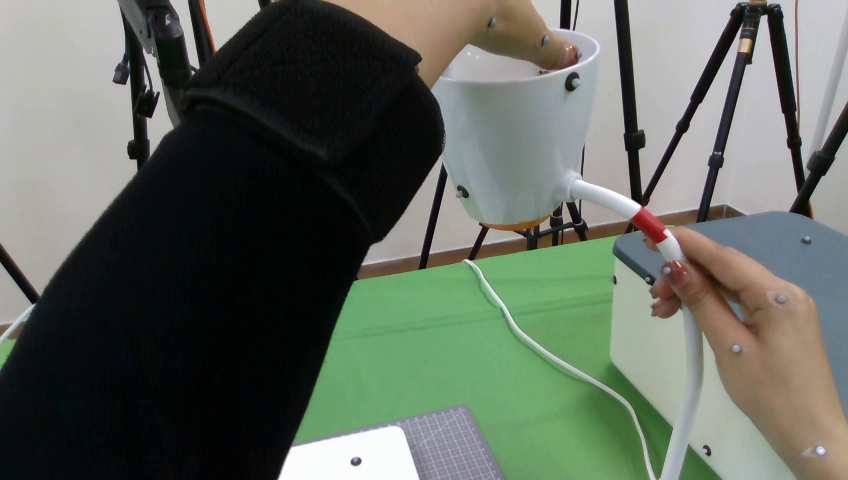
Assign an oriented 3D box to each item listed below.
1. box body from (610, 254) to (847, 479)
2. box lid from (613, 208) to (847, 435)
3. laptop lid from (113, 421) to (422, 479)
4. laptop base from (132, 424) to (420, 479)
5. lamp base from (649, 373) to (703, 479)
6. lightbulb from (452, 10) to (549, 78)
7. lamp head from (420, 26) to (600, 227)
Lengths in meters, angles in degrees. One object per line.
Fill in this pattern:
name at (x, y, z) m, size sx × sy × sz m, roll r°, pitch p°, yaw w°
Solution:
box body at (0.379, 0.125, 0.592) m, size 0.255 × 0.161 × 0.360 m, roll -9°, pitch 27°, yaw -15°
box lid at (0.377, 0.057, 0.560) m, size 0.264 × 0.015 × 0.367 m, roll -9°, pitch 27°, yaw -15°
laptop lid at (-0.162, 0.261, 0.482) m, size 0.357 × 0.013 × 0.239 m, roll -8°, pitch 29°, yaw -12°
laptop base at (-0.162, 0.270, 0.490) m, size 0.355 × 0.023 × 0.233 m, roll -8°, pitch 31°, yaw -13°
lamp base at (0.168, 0.196, 0.437) m, size 0.160 × 0.181 × 0.179 m, roll 10°, pitch 26°, yaw 20°
lightbulb at (0.051, -0.091, 0.387) m, size 0.059 × 0.109 × 0.059 m, roll -7°, pitch 39°, yaw 6°
lamp head at (0.062, -0.070, 0.402) m, size 0.112 × 0.124 × 0.111 m, roll -9°, pitch 29°, yaw 6°
